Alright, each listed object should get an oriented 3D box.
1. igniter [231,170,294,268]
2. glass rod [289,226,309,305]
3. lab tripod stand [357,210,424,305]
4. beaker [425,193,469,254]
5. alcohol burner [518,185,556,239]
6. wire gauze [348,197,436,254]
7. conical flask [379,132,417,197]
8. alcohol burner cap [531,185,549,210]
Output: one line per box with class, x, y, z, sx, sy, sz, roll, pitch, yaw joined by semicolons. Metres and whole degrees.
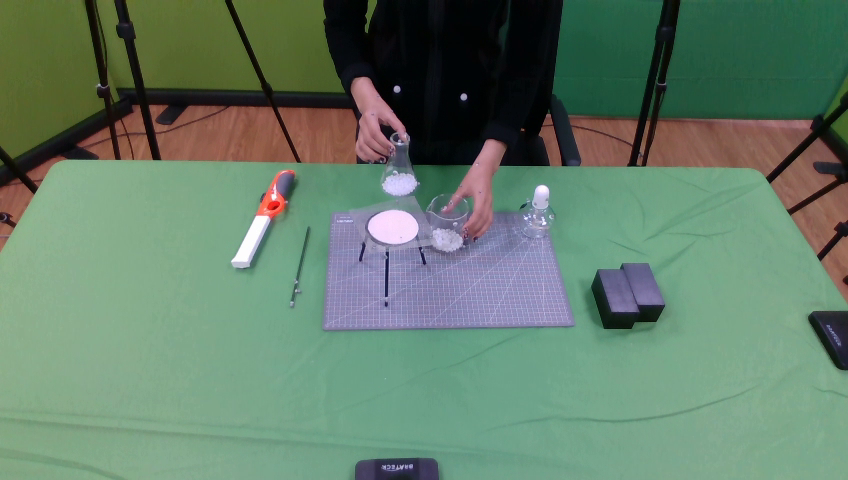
igniter;-0.321;-0.051;1.220;0.057;0.025;0.275;2;45;11
glass rod;-0.235;0.043;1.149;0.008;0.008;0.198;3;46;-1
lab tripod stand;-0.060;0.020;1.094;0.148;0.132;0.147;3;44;-2
beaker;0.042;-0.029;1.174;0.084;0.101;0.073;-5;46;-8
alcohol burner;0.227;-0.061;1.209;0.078;0.120;0.077;1;44;-1
wire gauze;-0.056;-0.026;1.045;0.125;0.011;0.120;-12;46;-17
conical flask;-0.049;-0.147;1.157;0.075;0.122;0.075;2;46;-2
alcohol burner cap;0.228;-0.085;1.183;0.034;0.048;0.033;-1;48;2
